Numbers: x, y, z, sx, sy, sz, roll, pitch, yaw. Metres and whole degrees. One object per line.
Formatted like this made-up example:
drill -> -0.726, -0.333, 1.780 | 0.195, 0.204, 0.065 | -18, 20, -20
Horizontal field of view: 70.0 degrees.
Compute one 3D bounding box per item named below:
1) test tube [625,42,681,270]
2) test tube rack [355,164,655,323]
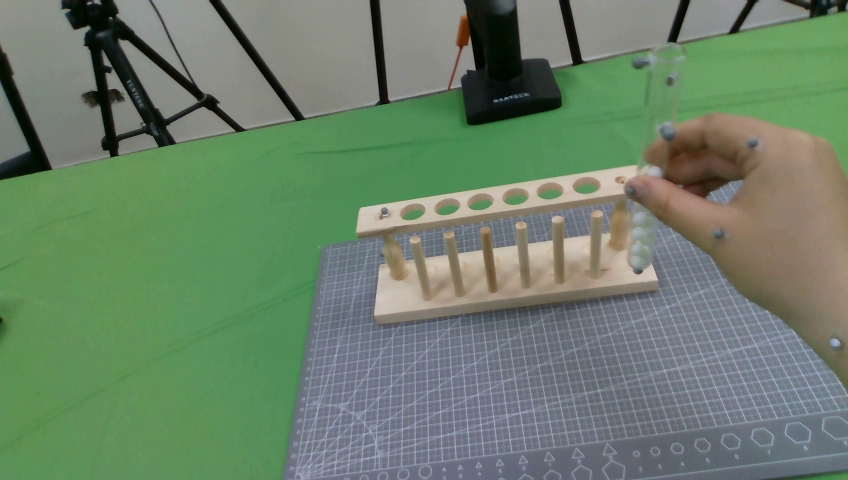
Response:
test tube -> 0.120, -0.035, 0.324 | 0.017, 0.152, 0.017 | -7, 47, 8
test tube rack -> 0.068, 0.006, 0.521 | 0.242, 0.086, 0.066 | -8, 42, 8
